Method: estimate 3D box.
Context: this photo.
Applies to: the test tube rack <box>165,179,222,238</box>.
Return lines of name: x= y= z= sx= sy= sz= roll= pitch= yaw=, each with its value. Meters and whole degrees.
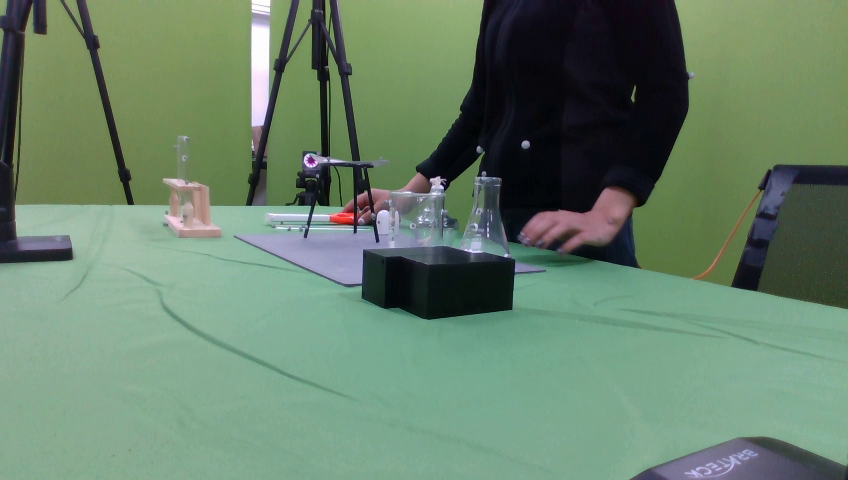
test tube rack: x=-0.423 y=-0.062 z=1.098 sx=0.067 sy=0.085 sz=0.241 roll=-2 pitch=9 yaw=-28

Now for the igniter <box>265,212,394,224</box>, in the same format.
igniter: x=-0.194 y=-0.047 z=1.283 sx=0.278 sy=0.025 sz=0.057 roll=-1 pitch=7 yaw=-30

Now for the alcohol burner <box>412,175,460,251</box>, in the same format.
alcohol burner: x=0.020 y=-0.043 z=0.958 sx=0.078 sy=0.119 sz=0.078 roll=4 pitch=9 yaw=0

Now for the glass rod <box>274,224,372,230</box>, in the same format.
glass rod: x=-0.193 y=-0.024 z=1.176 sx=0.201 sy=0.008 sz=0.008 roll=1 pitch=6 yaw=-31

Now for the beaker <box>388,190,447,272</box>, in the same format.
beaker: x=-0.010 y=-0.013 z=0.771 sx=0.074 sy=0.100 sz=0.084 roll=3 pitch=7 yaw=4

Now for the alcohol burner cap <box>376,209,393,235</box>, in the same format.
alcohol burner cap: x=-0.076 y=-0.035 z=1.145 sx=0.034 sy=0.048 sz=0.034 roll=2 pitch=7 yaw=0

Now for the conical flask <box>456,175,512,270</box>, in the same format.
conical flask: x=0.082 y=-0.025 z=0.801 sx=0.075 sy=0.122 sz=0.075 roll=2 pitch=7 yaw=0

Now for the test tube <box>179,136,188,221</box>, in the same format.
test tube: x=-0.425 y=-0.108 z=1.070 sx=0.017 sy=0.150 sz=0.017 roll=4 pitch=9 yaw=0

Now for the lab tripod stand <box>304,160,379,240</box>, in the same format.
lab tripod stand: x=-0.131 y=-0.071 z=1.046 sx=0.148 sy=0.131 sz=0.148 roll=4 pitch=7 yaw=0

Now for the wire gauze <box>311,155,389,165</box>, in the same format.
wire gauze: x=-0.128 y=-0.137 z=1.042 sx=0.122 sy=0.011 sz=0.124 roll=1 pitch=8 yaw=-18
